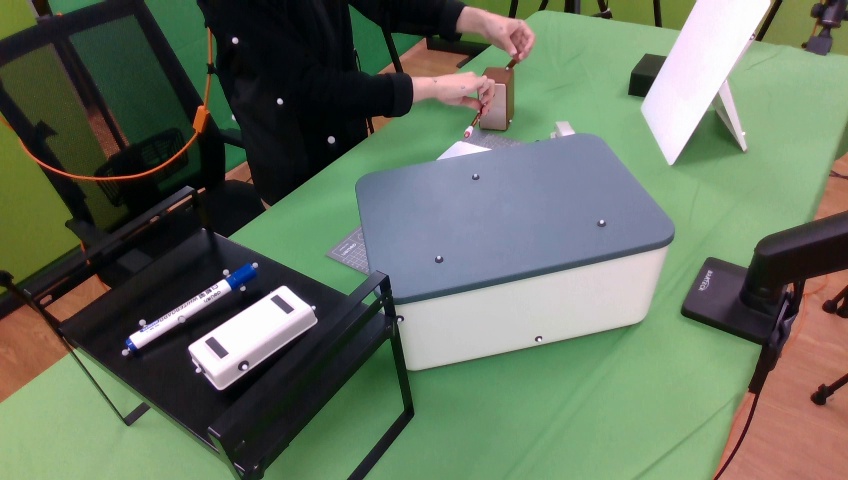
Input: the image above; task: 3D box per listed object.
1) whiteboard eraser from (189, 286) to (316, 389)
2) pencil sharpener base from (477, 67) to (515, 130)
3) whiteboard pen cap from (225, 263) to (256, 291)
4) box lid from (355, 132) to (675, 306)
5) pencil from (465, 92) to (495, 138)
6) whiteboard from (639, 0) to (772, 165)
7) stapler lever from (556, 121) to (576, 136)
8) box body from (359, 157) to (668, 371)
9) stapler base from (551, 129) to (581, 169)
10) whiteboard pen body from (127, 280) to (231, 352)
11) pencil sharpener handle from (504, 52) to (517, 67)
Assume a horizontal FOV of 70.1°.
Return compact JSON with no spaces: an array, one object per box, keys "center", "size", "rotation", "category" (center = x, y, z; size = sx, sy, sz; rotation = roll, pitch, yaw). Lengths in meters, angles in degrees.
[{"center":[-0.166,0.096,0.593],"size":[0.113,0.042,0.055],"rotation":[-36,47,-29],"category":"whiteboard eraser"},{"center":[0.149,-0.288,1.226],"size":[0.061,0.107,0.076],"rotation":[7,42,18],"category":"pencil sharpener base"},{"center":[-0.204,0.041,0.668],"size":[0.033,0.018,0.018],"rotation":[-36,48,-22],"category":"whiteboard pen cap"},{"center":[0.103,-0.042,0.785],"size":[0.372,0.015,0.261],"rotation":[-12,41,-5],"category":"box lid"},{"center":[0.108,-0.240,1.128],"size":[0.012,0.012,0.194],"rotation":[9,40,18],"category":"pencil"},{"center":[0.543,-0.298,1.076],"size":[0.144,0.305,0.216],"rotation":[12,40,-7],"category":"whiteboard"},{"center":[0.266,-0.198,1.128],"size":[0.027,0.040,0.117],"rotation":[0,38,3],"category":"stapler lever"},{"center":[0.108,0.014,0.833],"size":[0.365,0.161,0.252],"rotation":[-11,41,-5],"category":"box body"},{"center":[0.268,-0.178,1.142],"size":[0.041,0.024,0.130],"rotation":[0,37,3],"category":"stapler base"},{"center":[-0.248,0.072,0.645],"size":[0.141,0.017,0.017],"rotation":[-35,47,-23],"category":"whiteboard pen body"},{"center":[0.169,-0.351,1.233],"size":[0.036,0.067,0.030],"rotation":[31,45,-6],"category":"pencil sharpener handle"}]
